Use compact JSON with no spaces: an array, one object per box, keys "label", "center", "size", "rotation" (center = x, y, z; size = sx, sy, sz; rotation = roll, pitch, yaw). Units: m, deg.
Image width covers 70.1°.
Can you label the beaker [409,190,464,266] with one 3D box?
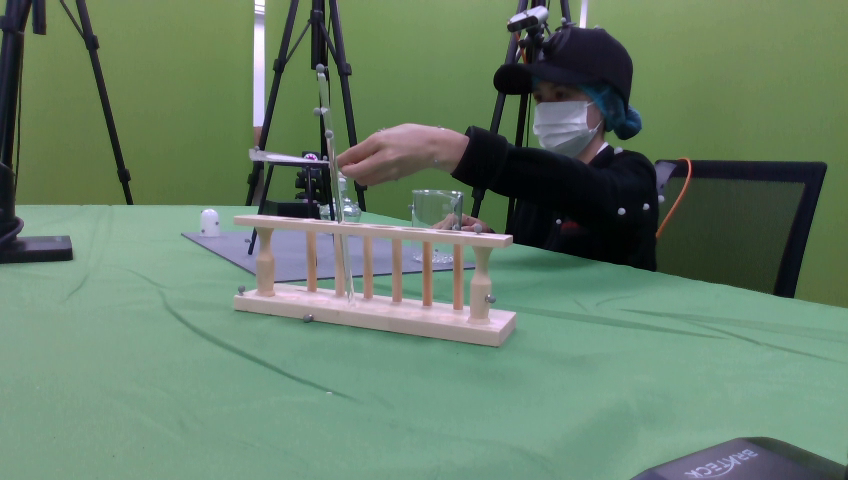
[{"label":"beaker","center":[0.018,-0.017,0.840],"size":[0.074,0.100,0.083],"rotation":[-3,10,-35]}]

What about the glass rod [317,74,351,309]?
[{"label":"glass rod","center":[-0.075,-0.036,0.502],"size":[0.008,0.199,0.008],"rotation":[-5,8,1]}]

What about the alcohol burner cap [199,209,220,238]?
[{"label":"alcohol burner cap","center":[-0.356,-0.027,1.002],"size":[0.034,0.048,0.034],"rotation":[2,7,0]}]

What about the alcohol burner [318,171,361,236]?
[{"label":"alcohol burner","center":[-0.155,-0.066,1.104],"size":[0.078,0.119,0.078],"rotation":[1,8,0]}]

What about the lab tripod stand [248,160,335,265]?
[{"label":"lab tripod stand","center":[-0.165,-0.041,0.817],"size":[0.148,0.131,0.148],"rotation":[5,7,0]}]

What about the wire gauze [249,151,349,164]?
[{"label":"wire gauze","center":[-0.169,-0.106,0.802],"size":[0.122,0.011,0.124],"rotation":[3,10,-19]}]

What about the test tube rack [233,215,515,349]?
[{"label":"test tube rack","center":[-0.045,0.029,0.526],"size":[0.241,0.085,0.067],"rotation":[5,8,19]}]
